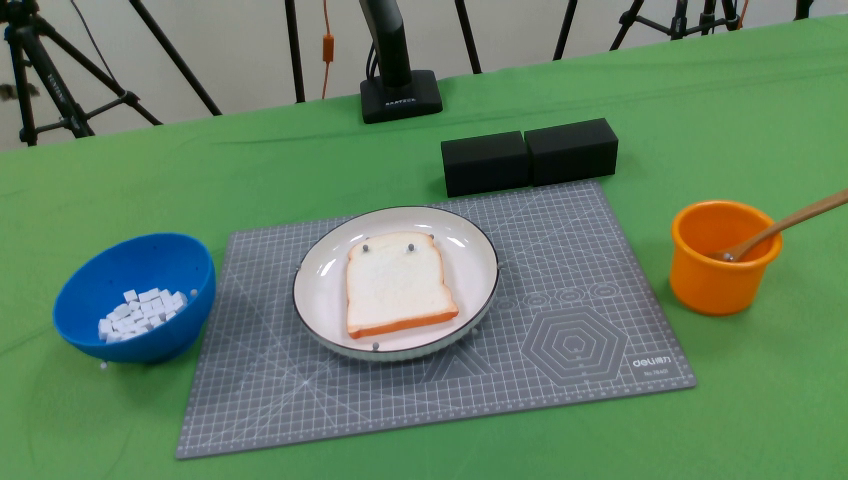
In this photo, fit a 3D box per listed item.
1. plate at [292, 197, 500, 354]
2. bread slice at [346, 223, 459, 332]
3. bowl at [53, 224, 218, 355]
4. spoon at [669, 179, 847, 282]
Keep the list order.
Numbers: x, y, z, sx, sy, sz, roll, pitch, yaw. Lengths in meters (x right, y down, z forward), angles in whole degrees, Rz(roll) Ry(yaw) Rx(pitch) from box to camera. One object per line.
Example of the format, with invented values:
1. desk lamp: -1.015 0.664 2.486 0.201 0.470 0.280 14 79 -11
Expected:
1. plate: -0.028 0.035 0.617 0.209 0.038 0.207 -5 43 5
2. bread slice: -0.031 0.034 0.623 0.107 0.018 0.133 -13 44 -4
3. bowl: -0.272 0.062 0.605 0.151 0.077 0.150 -5 43 5
4. spoon: 0.305 -0.012 0.532 0.022 0.194 0.041 33 43 -21
